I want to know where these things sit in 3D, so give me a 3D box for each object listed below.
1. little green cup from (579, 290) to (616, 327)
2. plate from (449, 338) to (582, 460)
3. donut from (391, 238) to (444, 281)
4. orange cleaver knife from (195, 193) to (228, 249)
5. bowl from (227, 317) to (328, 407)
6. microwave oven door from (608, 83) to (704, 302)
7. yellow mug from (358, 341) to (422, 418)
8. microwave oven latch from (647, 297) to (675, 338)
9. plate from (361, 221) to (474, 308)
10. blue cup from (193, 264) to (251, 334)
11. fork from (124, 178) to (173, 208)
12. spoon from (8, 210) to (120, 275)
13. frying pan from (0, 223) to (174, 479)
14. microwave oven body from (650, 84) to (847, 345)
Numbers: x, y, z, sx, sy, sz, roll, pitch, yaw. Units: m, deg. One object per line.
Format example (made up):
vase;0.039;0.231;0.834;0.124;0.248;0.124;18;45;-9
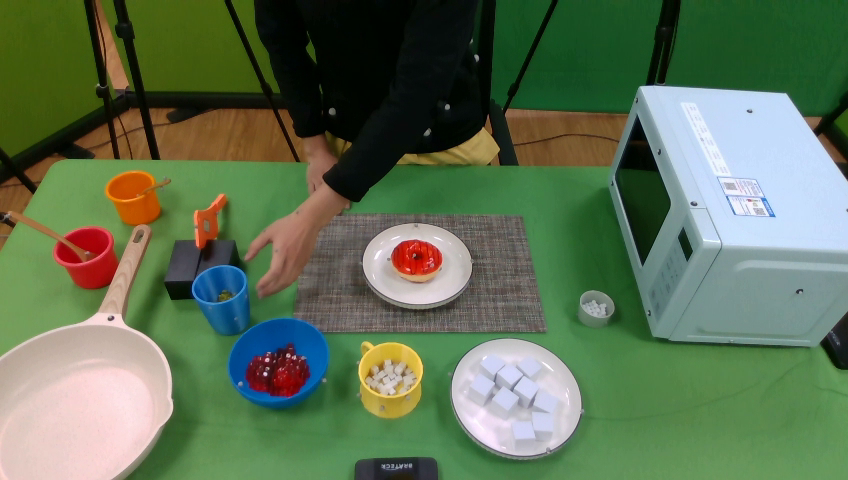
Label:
little green cup;0.308;0.124;1.086;0.061;0.039;0.061;1;45;-1
plate;0.141;0.251;0.955;0.208;0.039;0.206;2;46;-2
donut;-0.012;0.035;1.128;0.099;0.048;0.098;3;43;-3
orange cleaver knife;-0.406;-0.041;1.163;0.012;0.077;0.210;0;18;-3
bowl;-0.222;0.203;0.947;0.151;0.077;0.150;2;46;-2
microwave oven door;0.424;-0.096;1.138;0.039;0.245;0.353;2;47;-1
yellow mug;-0.063;0.210;0.961;0.100;0.064;0.130;-29;54;-28
microwave oven latch;0.413;0.133;1.060;0.030;0.029;0.078;5;46;2
plate;-0.011;0.049;1.130;0.209;0.038;0.208;2;46;-2
blue cup;-0.331;0.105;1.016;0.092;0.101;0.092;1;45;0
fork;-0.525;-0.089;1.153;0.207;0.019;0.028;-18;26;45
spoon;-0.628;0.002;1.063;0.195;0.021;0.041;40;41;-27
frying pan;-0.505;0.169;0.941;0.307;0.103;0.485;5;54;-1
microwave oven body;0.569;-0.054;1.116;0.326;0.261;0.439;2;46;-1
